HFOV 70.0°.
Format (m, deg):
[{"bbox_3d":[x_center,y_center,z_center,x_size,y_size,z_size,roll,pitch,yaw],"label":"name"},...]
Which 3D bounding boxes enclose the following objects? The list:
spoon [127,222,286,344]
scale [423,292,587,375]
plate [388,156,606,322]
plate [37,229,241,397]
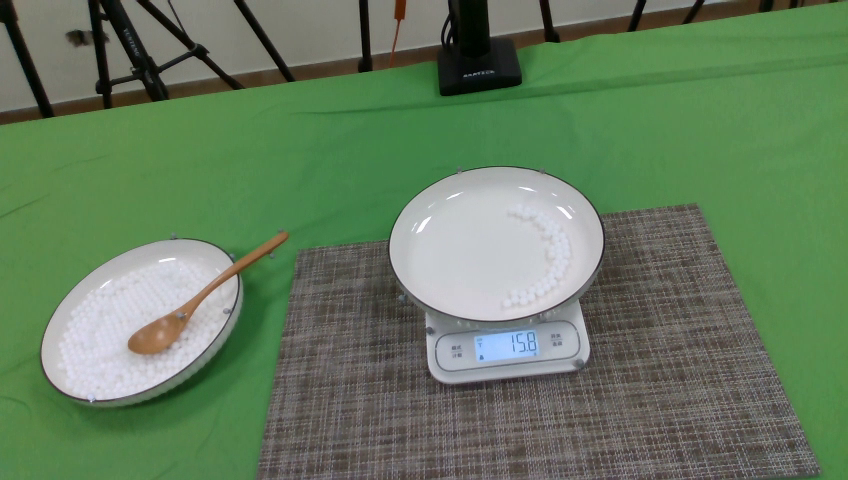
[{"bbox_3d":[-0.222,0.041,0.634,0.193,0.022,0.041,-42,54,-16],"label":"spoon"},{"bbox_3d":[0.071,0.036,0.604,0.148,0.032,0.199,-7,47,5],"label":"scale"},{"bbox_3d":[0.070,-0.002,0.594,0.207,0.039,0.205,-5,47,6],"label":"plate"},{"bbox_3d":[-0.292,0.075,0.639,0.209,0.038,0.207,-5,47,6],"label":"plate"}]
